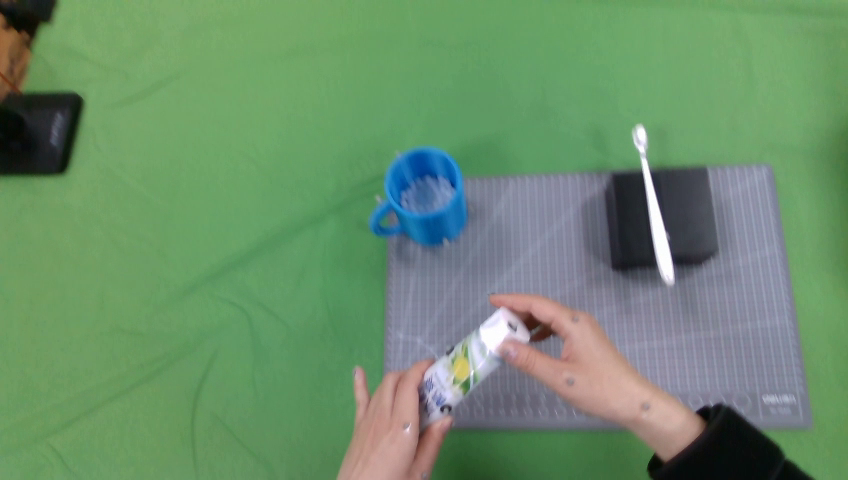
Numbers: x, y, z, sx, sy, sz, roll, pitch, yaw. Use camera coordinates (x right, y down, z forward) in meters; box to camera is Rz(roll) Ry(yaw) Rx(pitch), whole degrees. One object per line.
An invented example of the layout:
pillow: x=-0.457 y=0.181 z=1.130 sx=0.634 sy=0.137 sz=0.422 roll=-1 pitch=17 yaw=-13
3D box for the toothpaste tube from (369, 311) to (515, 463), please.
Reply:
toothpaste tube: x=0.016 y=0.120 z=0.516 sx=0.165 sy=0.035 sz=0.054 roll=-46 pitch=55 yaw=18

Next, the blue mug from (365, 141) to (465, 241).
blue mug: x=-0.012 y=-0.044 z=0.681 sx=0.116 sy=0.106 sz=0.082 roll=-29 pitch=73 yaw=-2

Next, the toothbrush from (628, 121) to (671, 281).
toothbrush: x=0.242 y=-0.045 z=0.647 sx=0.014 sy=0.017 sz=0.180 roll=-6 pitch=74 yaw=1

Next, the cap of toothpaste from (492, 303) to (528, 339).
cap of toothpaste: x=0.068 y=0.067 z=0.489 sx=0.011 sy=0.037 sz=0.037 roll=-46 pitch=72 yaw=18
